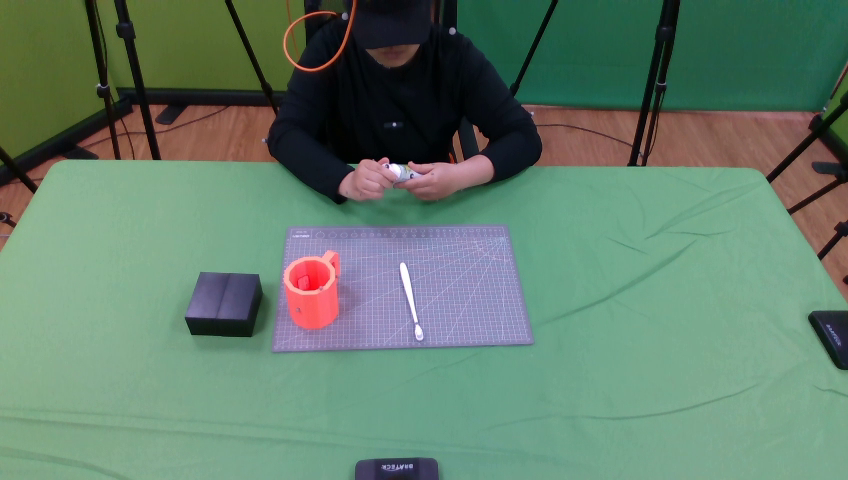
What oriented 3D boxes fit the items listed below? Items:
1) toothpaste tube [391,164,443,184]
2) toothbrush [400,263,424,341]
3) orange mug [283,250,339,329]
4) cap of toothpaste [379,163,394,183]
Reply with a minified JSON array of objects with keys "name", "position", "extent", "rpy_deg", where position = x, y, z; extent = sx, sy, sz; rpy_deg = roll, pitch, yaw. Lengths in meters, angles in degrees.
[{"name":"toothpaste tube","position":[-0.023,-0.134,1.233],"extent":[0.165,0.034,0.055],"rpy_deg":[-8,57,-53]},{"name":"toothbrush","position":[-0.025,0.106,1.093],"extent":[0.014,0.017,0.180],"rpy_deg":[-17,46,1]},{"name":"orange mug","position":[-0.186,0.079,1.052],"extent":[0.083,0.101,0.126],"rpy_deg":[20,52,15]},{"name":"cap of toothpaste","position":[-0.071,-0.130,1.170],"extent":[0.037,0.037,0.011],"rpy_deg":[35,25,27]}]
